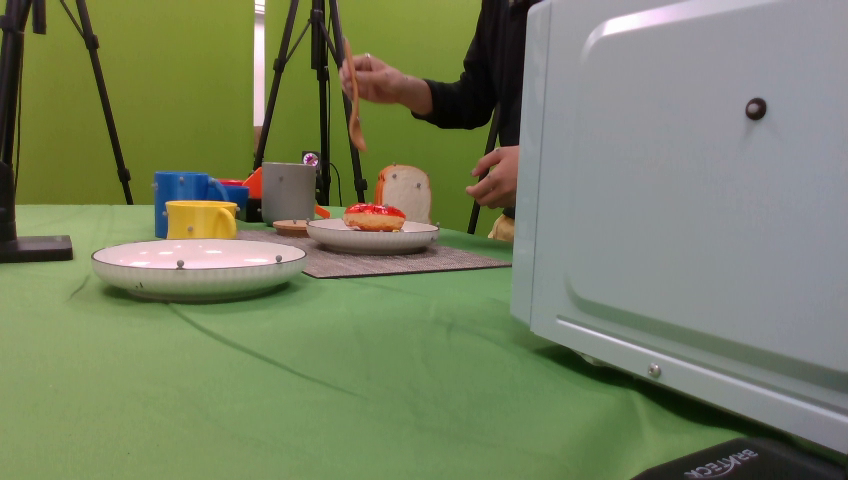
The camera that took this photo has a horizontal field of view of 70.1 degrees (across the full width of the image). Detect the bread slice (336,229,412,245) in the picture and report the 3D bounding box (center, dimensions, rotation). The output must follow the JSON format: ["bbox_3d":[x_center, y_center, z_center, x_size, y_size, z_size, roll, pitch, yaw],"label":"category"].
[{"bbox_3d":[-0.074,-0.006,0.938,0.105,0.019,0.131,-2,5,-18],"label":"bread slice"}]

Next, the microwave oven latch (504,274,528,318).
[{"bbox_3d":[0.100,0.041,0.471,0.079,0.029,0.030,-1,8,-28],"label":"microwave oven latch"}]

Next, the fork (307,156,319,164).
[{"bbox_3d":[-0.331,-0.144,1.505,0.207,0.018,0.028,-42,-20,22],"label":"fork"}]

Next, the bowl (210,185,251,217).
[{"bbox_3d":[-0.408,-0.064,1.155,0.151,0.077,0.151,2,8,0],"label":"bowl"}]

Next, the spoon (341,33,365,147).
[{"bbox_3d":[-0.122,-0.253,1.024,0.021,0.193,0.042,-4,1,22],"label":"spoon"}]

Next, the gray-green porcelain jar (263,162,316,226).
[{"bbox_3d":[-0.271,-0.092,1.217,0.106,0.126,0.106,2,7,0],"label":"gray-green porcelain jar"}]

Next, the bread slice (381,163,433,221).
[{"bbox_3d":[-0.035,-0.076,1.124,0.107,0.134,0.018,-3,0,-26],"label":"bread slice"}]

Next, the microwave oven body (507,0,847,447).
[{"bbox_3d":[0.331,-0.042,0.425,0.444,0.260,0.324,-2,8,-31],"label":"microwave oven body"}]

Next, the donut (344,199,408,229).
[{"bbox_3d":[-0.076,-0.039,0.948,0.099,0.048,0.099,2,4,0],"label":"donut"}]

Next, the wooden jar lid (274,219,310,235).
[{"bbox_3d":[-0.213,-0.023,1.080,0.108,0.020,0.108,3,7,0],"label":"wooden jar lid"}]

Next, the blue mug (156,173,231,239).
[{"bbox_3d":[-0.381,-0.057,1.004,0.117,0.106,0.082,0,8,-12],"label":"blue mug"}]

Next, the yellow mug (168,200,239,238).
[{"bbox_3d":[-0.319,-0.023,0.904,0.130,0.064,0.100,9,11,36],"label":"yellow mug"}]

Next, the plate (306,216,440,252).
[{"bbox_3d":[-0.079,-0.011,0.950,0.209,0.038,0.209,2,8,0],"label":"plate"}]

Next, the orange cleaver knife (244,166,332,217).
[{"bbox_3d":[-0.301,-0.089,1.351,0.212,0.077,0.012,32,-11,-34],"label":"orange cleaver knife"}]

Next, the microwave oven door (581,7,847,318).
[{"bbox_3d":[0.295,-0.067,0.570,0.358,0.243,0.039,-3,8,-31],"label":"microwave oven door"}]

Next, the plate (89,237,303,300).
[{"bbox_3d":[-0.233,0.029,0.637,0.208,0.039,0.207,2,7,0],"label":"plate"}]
